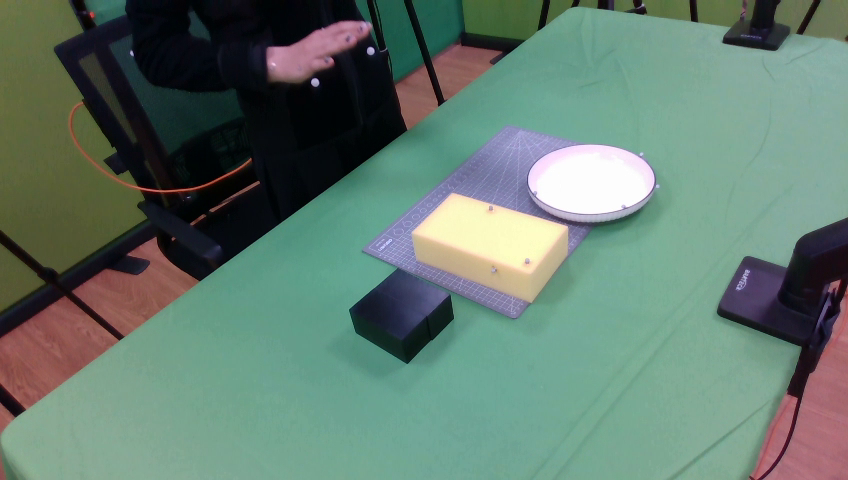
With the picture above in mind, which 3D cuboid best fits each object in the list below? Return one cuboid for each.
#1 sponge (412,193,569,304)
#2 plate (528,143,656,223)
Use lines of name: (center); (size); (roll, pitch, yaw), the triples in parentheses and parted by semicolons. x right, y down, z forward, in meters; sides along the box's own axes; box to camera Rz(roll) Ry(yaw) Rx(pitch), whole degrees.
sponge: (0.101, 0.007, 0.922); (0.205, 0.061, 0.118); (19, 48, 29)
plate: (0.281, -0.093, 1.023); (0.209, 0.038, 0.208); (-5, 40, 5)
